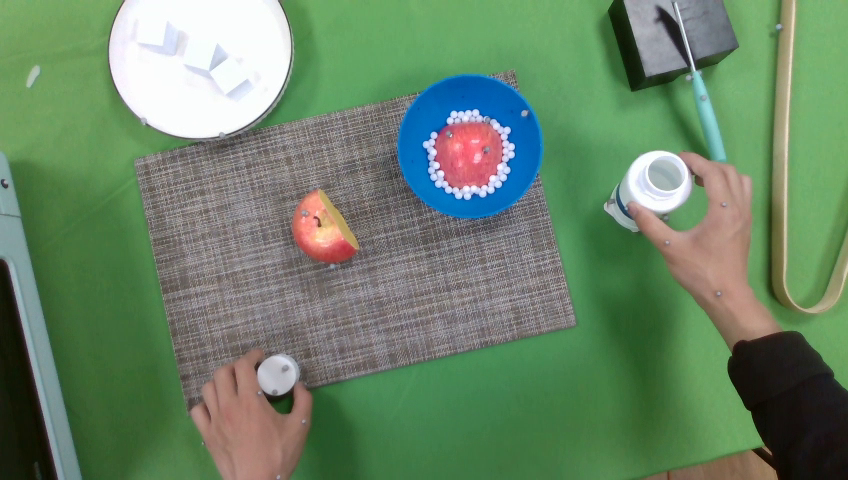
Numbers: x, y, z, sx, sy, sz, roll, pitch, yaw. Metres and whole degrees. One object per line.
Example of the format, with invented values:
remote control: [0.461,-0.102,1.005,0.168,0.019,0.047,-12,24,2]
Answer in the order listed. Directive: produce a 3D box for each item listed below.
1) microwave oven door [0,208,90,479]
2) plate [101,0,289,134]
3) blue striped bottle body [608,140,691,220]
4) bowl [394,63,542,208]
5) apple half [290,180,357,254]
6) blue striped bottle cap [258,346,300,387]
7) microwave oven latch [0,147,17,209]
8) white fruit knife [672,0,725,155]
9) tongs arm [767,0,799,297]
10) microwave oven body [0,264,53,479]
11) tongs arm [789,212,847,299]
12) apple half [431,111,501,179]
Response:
microwave oven door: [-0.425,0.135,0.558,0.039,0.244,0.355,-16,87,1]
plate: [-0.254,-0.220,0.686,0.208,0.039,0.207,0,88,1]
blue striped bottle body: [0.233,-0.062,0.627,0.063,0.121,0.063,-1,81,6]
bowl: [0.046,-0.104,0.652,0.151,0.077,0.151,0,88,2]
apple half: [-0.114,-0.018,0.655,0.053,0.074,0.081,-33,91,3]
blue striped bottle cap: [-0.163,0.142,0.679,0.044,0.020,0.044,0,87,-1]
microwave oven latch: [-0.478,-0.071,0.667,0.030,0.029,0.079,-15,88,0]
white fruit knife: [0.289,-0.186,0.650,0.016,0.027,0.208,-19,105,18]
tongs arm: [0.405,-0.131,0.676,0.028,0.028,0.387,3,88,-1]
microwave oven body: [-0.577,0.134,0.565,0.326,0.260,0.441,-15,88,0]
tongs arm: [0.485,-0.115,0.670,0.051,0.026,0.384,16,90,3]
apple half: [0.047,-0.104,0.648,0.081,0.033,0.081,0,87,2]
